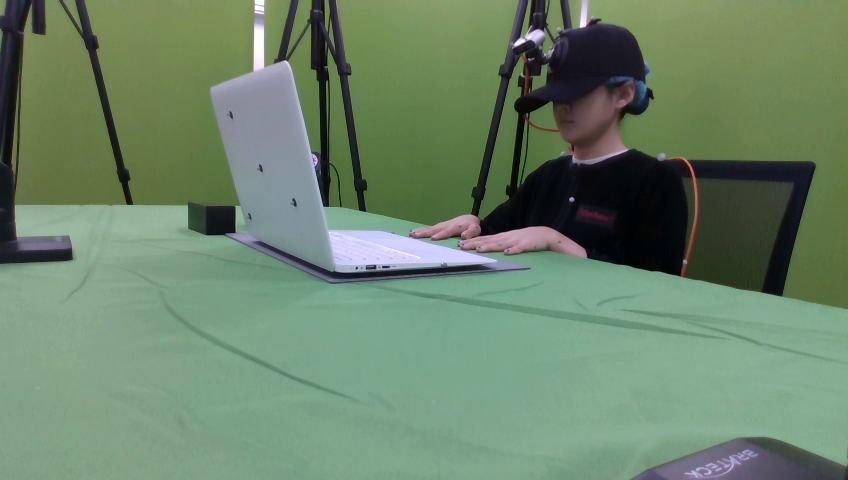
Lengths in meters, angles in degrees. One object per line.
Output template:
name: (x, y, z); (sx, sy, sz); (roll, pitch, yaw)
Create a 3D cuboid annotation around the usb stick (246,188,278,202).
usb stick: (-0.314, -0.086, 1.166); (0.059, 0.027, 0.021); (-4, 12, -32)

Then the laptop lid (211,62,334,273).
laptop lid: (-0.211, -0.095, 0.791); (0.013, 0.241, 0.355); (-18, 18, -29)

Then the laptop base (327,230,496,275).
laptop base: (-0.091, 0.016, 0.884); (0.237, 0.023, 0.352); (3, 6, -32)
